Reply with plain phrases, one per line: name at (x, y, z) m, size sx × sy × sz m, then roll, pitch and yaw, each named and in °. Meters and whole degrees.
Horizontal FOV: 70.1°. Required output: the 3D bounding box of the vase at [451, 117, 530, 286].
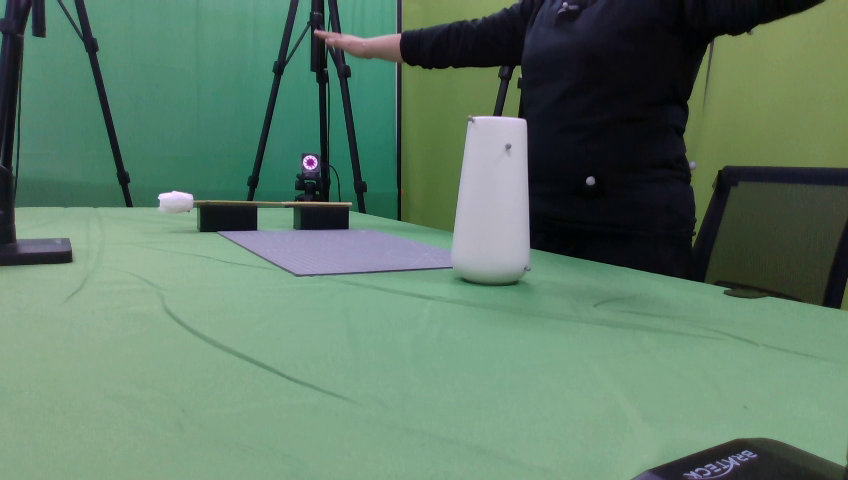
vase at (0.083, -0.047, 0.737) m, size 0.098 × 0.200 × 0.098 m, roll 1°, pitch 6°, yaw 0°

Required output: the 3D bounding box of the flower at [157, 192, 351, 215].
flower at (-0.314, -0.076, 1.160) m, size 0.363 × 0.038 × 0.044 m, roll -4°, pitch -22°, yaw -24°
